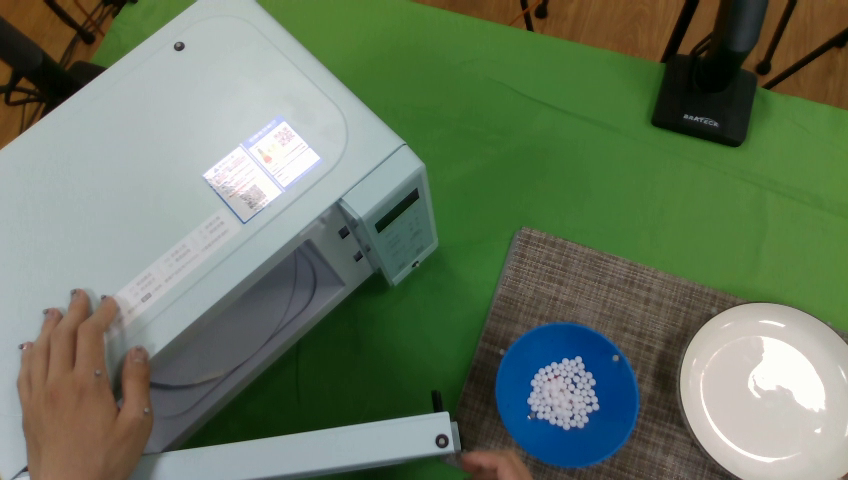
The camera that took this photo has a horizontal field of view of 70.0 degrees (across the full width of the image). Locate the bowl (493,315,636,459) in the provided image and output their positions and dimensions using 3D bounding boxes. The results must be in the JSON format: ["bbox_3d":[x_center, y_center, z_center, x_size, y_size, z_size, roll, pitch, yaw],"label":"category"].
[{"bbox_3d":[0.152,0.166,0.677,0.151,0.077,0.150,-1,72,4],"label":"bowl"}]

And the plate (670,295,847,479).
[{"bbox_3d":[0.382,0.166,0.682,0.207,0.039,0.206,-1,72,4],"label":"plate"}]

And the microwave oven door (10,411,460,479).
[{"bbox_3d":[-0.145,0.205,0.585,0.356,0.245,0.039,-9,72,1],"label":"microwave oven door"}]

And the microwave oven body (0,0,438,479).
[{"bbox_3d":[-0.254,-0.006,0.667,0.441,0.262,0.324,-42,74,-9],"label":"microwave oven body"}]

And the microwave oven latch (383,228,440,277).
[{"bbox_3d":[-0.016,0.008,0.747,0.079,0.030,0.030,-40,74,-8],"label":"microwave oven latch"}]
